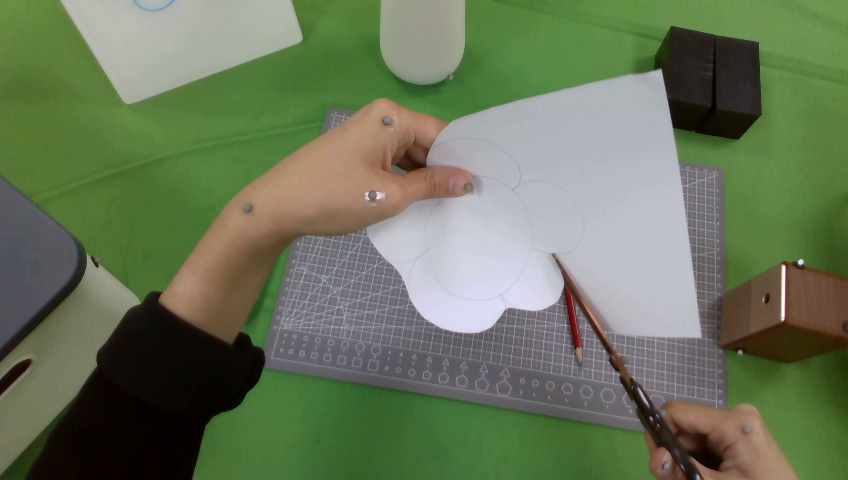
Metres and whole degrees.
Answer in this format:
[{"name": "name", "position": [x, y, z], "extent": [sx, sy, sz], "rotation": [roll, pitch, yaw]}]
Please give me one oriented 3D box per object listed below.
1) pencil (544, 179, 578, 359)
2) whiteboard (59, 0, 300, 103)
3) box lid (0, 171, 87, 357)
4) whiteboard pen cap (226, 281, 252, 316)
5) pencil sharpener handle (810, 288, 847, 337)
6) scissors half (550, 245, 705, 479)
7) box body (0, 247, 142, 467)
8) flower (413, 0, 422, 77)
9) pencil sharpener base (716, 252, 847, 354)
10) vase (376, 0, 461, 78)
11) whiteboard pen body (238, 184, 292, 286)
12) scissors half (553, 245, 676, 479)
[{"name": "pencil", "position": [0.142, 0.026, 0.625], "extent": [0.012, 0.012, 0.192], "rotation": [-4, 71, -3]}, {"name": "whiteboard", "position": [-0.290, -0.340, 0.625], "extent": [0.217, 0.308, 0.142], "rotation": [-24, 52, -10]}, {"name": "box lid", "position": [-0.470, 0.002, 0.453], "extent": [0.370, 0.015, 0.262], "rotation": [35, 71, 10]}, {"name": "whiteboard pen cap", "position": [-0.180, 0.057, 0.597], "extent": [0.018, 0.018, 0.033], "rotation": [15, 64, 4]}, {"name": "pencil sharpener handle", "position": [0.387, 0.071, 0.555], "extent": [0.030, 0.068, 0.035], "rotation": [13, 63, 0]}, {"name": "scissors half", "position": [0.118, 0.078, 0.344], "extent": [0.013, 0.040, 0.174], "rotation": [-31, 85, 2]}, {"name": "box body", "position": [-0.470, 0.031, 0.522], "extent": [0.362, 0.161, 0.253], "rotation": [35, 72, 10]}, {"name": "flower", "position": [-0.009, -0.305, 0.557], "extent": [0.044, 0.365, 0.038], "rotation": [2, 51, 3]}, {"name": "pencil sharpener base", "position": [0.337, 0.063, 0.567], "extent": [0.077, 0.107, 0.061], "rotation": [13, 68, 0]}, {"name": "vase", "position": [-0.006, -0.261, 0.630], "extent": [0.098, 0.201, 0.097], "rotation": [0, 67, 0]}, {"name": "whiteboard pen body", "position": [-0.165, 0.004, 0.619], "extent": [0.017, 0.017, 0.140], "rotation": [16, 68, 5]}, {"name": "scissors half", "position": [0.119, 0.075, 0.365], "extent": [0.013, 0.040, 0.176], "rotation": [-30, 106, 7]}]
